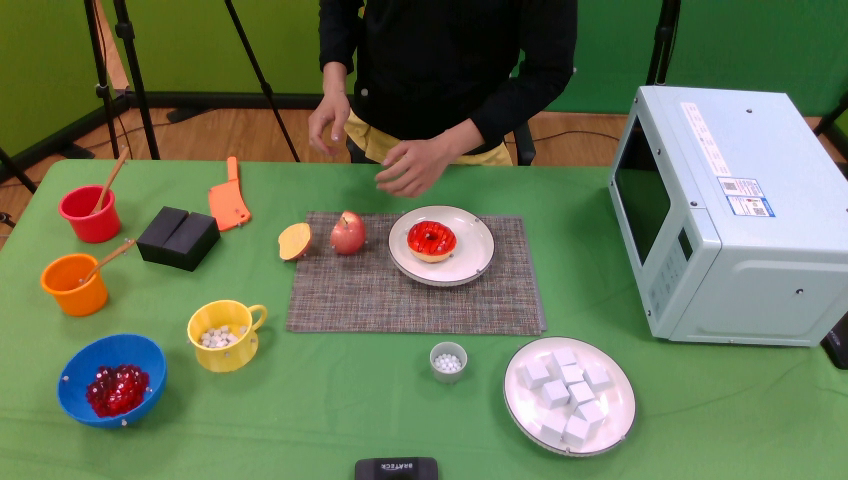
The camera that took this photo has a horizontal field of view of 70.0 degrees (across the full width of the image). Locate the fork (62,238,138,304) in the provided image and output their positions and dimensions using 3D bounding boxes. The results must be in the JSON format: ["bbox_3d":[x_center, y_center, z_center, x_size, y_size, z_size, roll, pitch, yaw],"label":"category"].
[{"bbox_3d":[-0.547,0.053,1.018,0.207,0.019,0.028,-36,41,23],"label":"fork"}]

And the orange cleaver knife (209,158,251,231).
[{"bbox_3d":[-0.409,-0.099,1.266,0.077,0.012,0.210,-14,50,-10],"label":"orange cleaver knife"}]

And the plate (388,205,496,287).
[{"bbox_3d":[0.033,0.014,1.171,0.209,0.038,0.208,2,46,-2],"label":"plate"}]

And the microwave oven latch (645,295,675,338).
[{"bbox_3d":[0.412,0.134,1.061,0.030,0.029,0.078,3,45,0],"label":"microwave oven latch"}]

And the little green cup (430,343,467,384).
[{"bbox_3d":[0.039,0.203,0.994,0.061,0.039,0.061,2,46,-2],"label":"little green cup"}]

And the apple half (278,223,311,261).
[{"bbox_3d":[-0.241,0.007,1.157,0.081,0.033,0.081,-17,54,25],"label":"apple half"}]

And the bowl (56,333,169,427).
[{"bbox_3d":[-0.456,0.223,0.911,0.151,0.077,0.150,3,45,-2],"label":"bowl"}]

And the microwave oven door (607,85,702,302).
[{"bbox_3d":[0.423,-0.094,1.141,0.039,0.245,0.353,2,46,-1],"label":"microwave oven door"}]

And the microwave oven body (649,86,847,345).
[{"bbox_3d":[0.568,-0.053,1.118,0.326,0.261,0.439,2,45,-1],"label":"microwave oven body"}]

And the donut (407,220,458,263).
[{"bbox_3d":[0.016,0.002,1.166,0.099,0.048,0.098,3,44,-2],"label":"donut"}]

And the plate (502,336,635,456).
[{"bbox_3d":[0.225,0.248,0.964,0.208,0.039,0.206,2,46,-2],"label":"plate"}]

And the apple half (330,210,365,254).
[{"bbox_3d":[-0.140,-0.009,1.157,0.053,0.075,0.080,17,44,8],"label":"apple half"}]

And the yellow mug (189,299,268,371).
[{"bbox_3d":[-0.316,0.148,1.002,0.131,0.064,0.099,-33,56,-31],"label":"yellow mug"}]

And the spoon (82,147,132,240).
[{"bbox_3d":[-0.602,-0.089,1.156,0.041,0.022,0.193,27,95,19],"label":"spoon"}]
